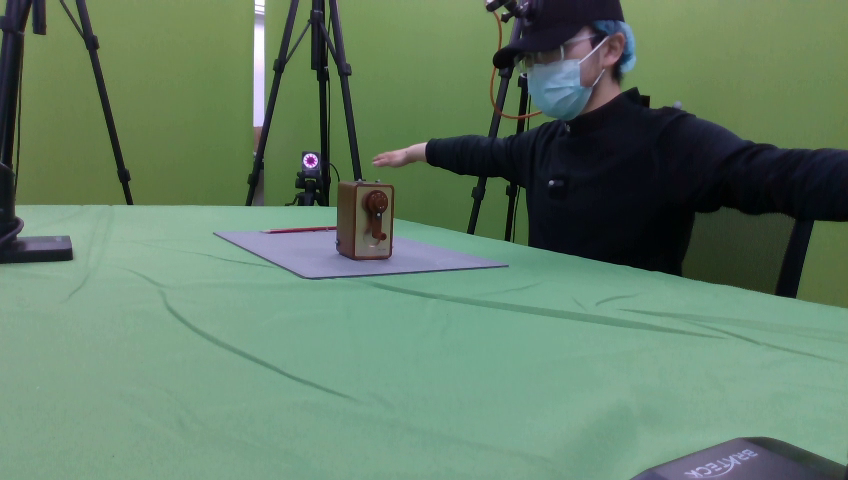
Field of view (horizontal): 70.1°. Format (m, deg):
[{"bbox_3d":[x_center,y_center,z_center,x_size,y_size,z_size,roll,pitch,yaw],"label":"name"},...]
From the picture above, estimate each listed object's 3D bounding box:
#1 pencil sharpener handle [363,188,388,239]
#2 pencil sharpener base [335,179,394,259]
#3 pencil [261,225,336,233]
[{"bbox_3d":[-0.060,-0.035,0.807,0.036,0.067,0.030,-2,9,-28],"label":"pencil sharpener handle"},{"bbox_3d":[-0.084,-0.030,0.853,0.061,0.107,0.076,-1,8,-28],"label":"pencil sharpener base"},{"bbox_3d":[-0.212,-0.021,1.123,0.195,0.012,0.012,-5,11,-40],"label":"pencil"}]
